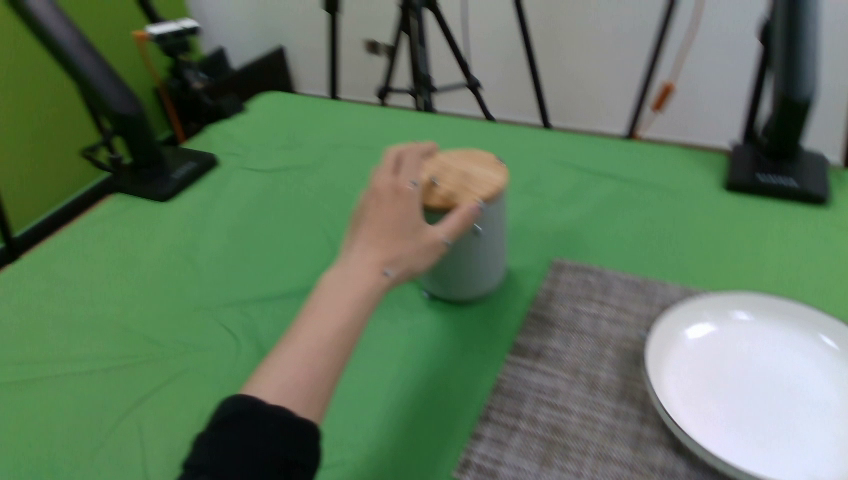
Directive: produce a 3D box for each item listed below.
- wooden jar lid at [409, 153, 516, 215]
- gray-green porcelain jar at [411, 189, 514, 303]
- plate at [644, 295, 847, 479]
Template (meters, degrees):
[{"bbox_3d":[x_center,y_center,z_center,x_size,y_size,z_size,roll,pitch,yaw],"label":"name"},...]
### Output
[{"bbox_3d":[0.040,-0.055,0.614,0.108,0.021,0.107,-5,37,4],"label":"wooden jar lid"},{"bbox_3d":[0.043,-0.004,0.654,0.106,0.127,0.105,-3,38,3],"label":"gray-green porcelain jar"},{"bbox_3d":[0.294,0.130,0.516,0.207,0.039,0.205,-3,37,3],"label":"plate"}]
